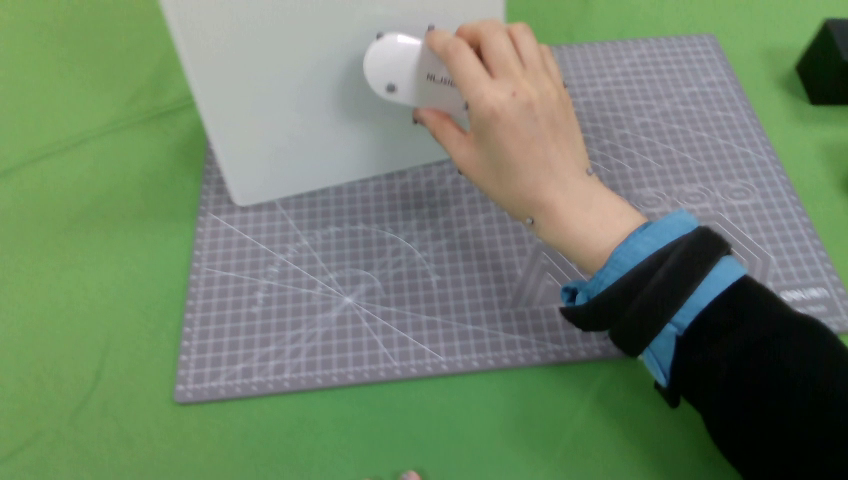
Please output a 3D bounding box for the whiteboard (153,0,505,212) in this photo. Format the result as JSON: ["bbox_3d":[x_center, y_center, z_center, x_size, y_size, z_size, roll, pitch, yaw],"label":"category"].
[{"bbox_3d":[-0.073,-0.206,0.422,0.217,0.308,0.142,-14,40,-8],"label":"whiteboard"}]

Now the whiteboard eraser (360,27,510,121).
[{"bbox_3d":[0.009,-0.107,0.396,0.102,0.041,0.018,12,21,-20],"label":"whiteboard eraser"}]
